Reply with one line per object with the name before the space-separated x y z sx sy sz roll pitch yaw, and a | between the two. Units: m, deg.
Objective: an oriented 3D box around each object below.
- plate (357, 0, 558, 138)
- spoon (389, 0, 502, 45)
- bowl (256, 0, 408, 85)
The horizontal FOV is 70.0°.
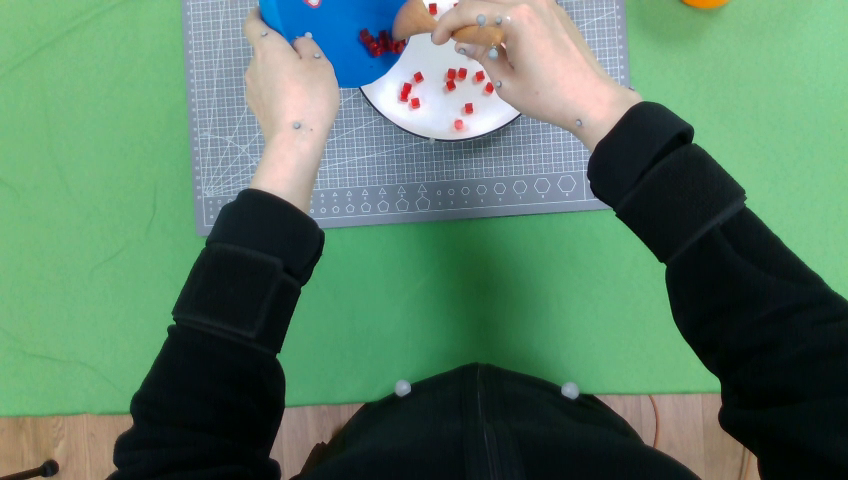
plate | 0.026 -0.203 0.596 0.209 0.038 0.209 0 91 3
spoon | 0.012 -0.163 0.455 0.022 0.191 0.041 25 100 -34
bowl | -0.086 -0.211 0.503 0.076 0.153 0.151 24 92 38
